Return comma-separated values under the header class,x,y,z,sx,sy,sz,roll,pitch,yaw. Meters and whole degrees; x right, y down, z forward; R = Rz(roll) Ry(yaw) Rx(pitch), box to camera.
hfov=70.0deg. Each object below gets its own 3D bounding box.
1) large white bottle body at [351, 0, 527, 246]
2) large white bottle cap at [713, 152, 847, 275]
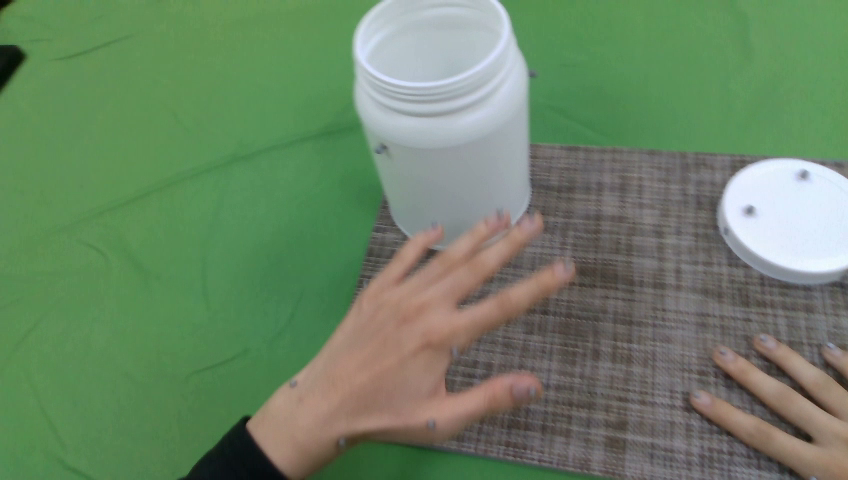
class,x,y,z,sx,sy,sz,roll,pitch,yaw
large white bottle body,0.016,-0.095,0.488,0.130,0.186,0.129,-5,56,7
large white bottle cap,0.300,-0.024,0.496,0.115,0.018,0.114,-4,57,6
